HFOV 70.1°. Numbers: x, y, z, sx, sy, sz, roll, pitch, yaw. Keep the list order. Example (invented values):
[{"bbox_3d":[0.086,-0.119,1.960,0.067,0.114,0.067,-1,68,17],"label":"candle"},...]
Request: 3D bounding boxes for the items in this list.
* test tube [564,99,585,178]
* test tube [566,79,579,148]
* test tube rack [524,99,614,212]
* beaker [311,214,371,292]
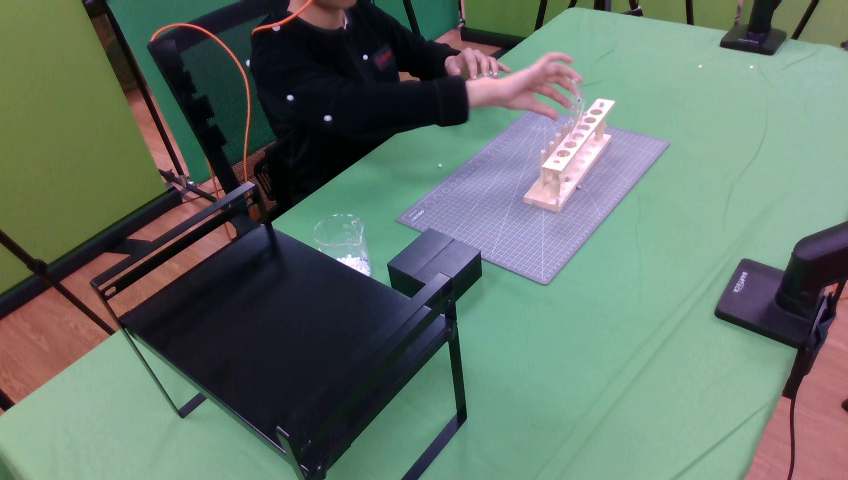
[{"bbox_3d":[0.247,-0.164,1.001,0.017,0.151,0.017,-1,42,1],"label":"test tube"},{"bbox_3d":[0.262,-0.218,1.070,0.017,0.151,0.017,-4,47,5],"label":"test tube"},{"bbox_3d":[0.259,-0.158,1.068,0.066,0.085,0.243,19,47,28],"label":"test tube rack"},{"bbox_3d":[-0.118,0.022,0.908,0.083,0.101,0.074,26,51,32],"label":"beaker"}]
